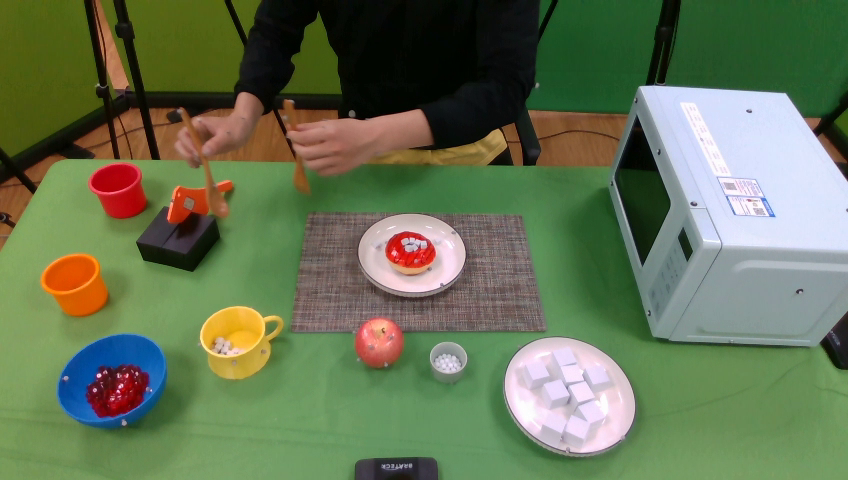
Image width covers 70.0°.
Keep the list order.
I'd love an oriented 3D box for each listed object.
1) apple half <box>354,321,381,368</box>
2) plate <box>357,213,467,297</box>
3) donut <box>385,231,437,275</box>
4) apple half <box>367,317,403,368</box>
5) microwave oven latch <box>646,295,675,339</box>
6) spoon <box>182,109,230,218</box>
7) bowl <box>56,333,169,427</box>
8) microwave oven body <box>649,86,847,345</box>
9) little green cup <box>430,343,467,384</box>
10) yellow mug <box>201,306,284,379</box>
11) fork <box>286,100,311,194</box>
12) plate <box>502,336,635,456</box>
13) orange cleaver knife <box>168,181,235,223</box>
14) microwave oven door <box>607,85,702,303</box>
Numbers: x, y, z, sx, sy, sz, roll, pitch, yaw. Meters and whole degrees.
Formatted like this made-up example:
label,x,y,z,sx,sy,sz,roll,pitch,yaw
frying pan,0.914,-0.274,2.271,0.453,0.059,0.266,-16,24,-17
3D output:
label,x,y,z,sx,sy,sz,roll,pitch,yaw
apple half,-0.097,0.176,0.985,0.033,0.081,0.080,-12,48,-20
plate,-0.023,0.031,1.149,0.209,0.038,0.208,2,46,-2
donut,-0.025,0.024,1.142,0.099,0.048,0.098,4,44,-3
apple half,-0.061,0.167,0.998,0.053,0.075,0.080,-11,44,-20
microwave oven latch,0.412,0.134,1.061,0.030,0.029,0.078,4,45,1
spoon,-0.361,-0.125,1.007,0.021,0.194,0.041,1,30,17
bowl,-0.456,0.223,0.911,0.151,0.077,0.150,3,46,-2
microwave oven body,0.568,-0.053,1.118,0.326,0.261,0.439,2,45,-1
little green cup,0.039,0.203,0.994,0.061,0.039,0.061,2,46,-2
yellow mug,-0.291,0.160,0.993,0.131,0.064,0.099,-23,51,-25
fork,-0.200,-0.140,0.960,0.028,0.208,0.018,16,52,9
plate,0.225,0.248,0.964,0.208,0.039,0.206,2,46,-2
orange cleaver knife,-0.436,-0.077,1.196,0.012,0.077,0.211,16,15,9
microwave oven door,0.423,-0.094,1.140,0.039,0.245,0.353,2,46,-1
